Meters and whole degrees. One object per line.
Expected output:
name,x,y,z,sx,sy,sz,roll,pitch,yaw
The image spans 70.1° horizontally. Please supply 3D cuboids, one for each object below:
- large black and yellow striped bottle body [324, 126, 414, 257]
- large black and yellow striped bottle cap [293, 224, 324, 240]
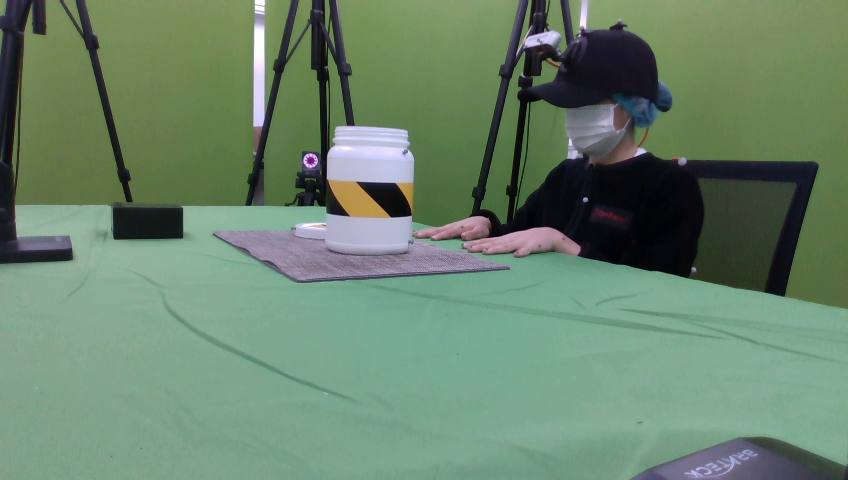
large black and yellow striped bottle body,-0.082,-0.074,0.904,0.131,0.184,0.130,3,7,0
large black and yellow striped bottle cap,-0.173,-0.015,1.071,0.115,0.019,0.115,2,7,0
